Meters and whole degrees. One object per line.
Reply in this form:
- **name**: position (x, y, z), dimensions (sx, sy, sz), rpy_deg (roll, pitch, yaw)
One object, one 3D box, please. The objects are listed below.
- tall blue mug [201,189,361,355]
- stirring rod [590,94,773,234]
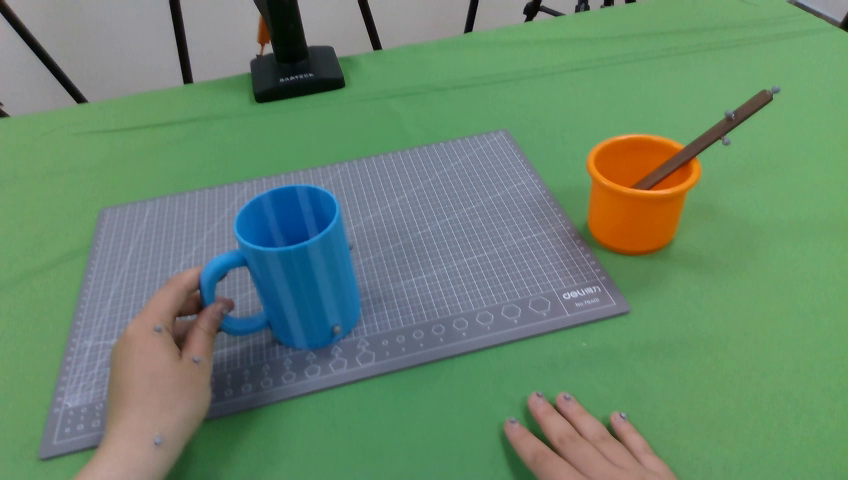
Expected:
- **tall blue mug**: position (-0.102, 0.035, 0.460), dimensions (0.077, 0.109, 0.107), rpy_deg (21, 48, 26)
- **stirring rod**: position (0.214, -0.061, 0.517), dimensions (0.176, 0.006, 0.014), rpy_deg (-41, 37, 26)
